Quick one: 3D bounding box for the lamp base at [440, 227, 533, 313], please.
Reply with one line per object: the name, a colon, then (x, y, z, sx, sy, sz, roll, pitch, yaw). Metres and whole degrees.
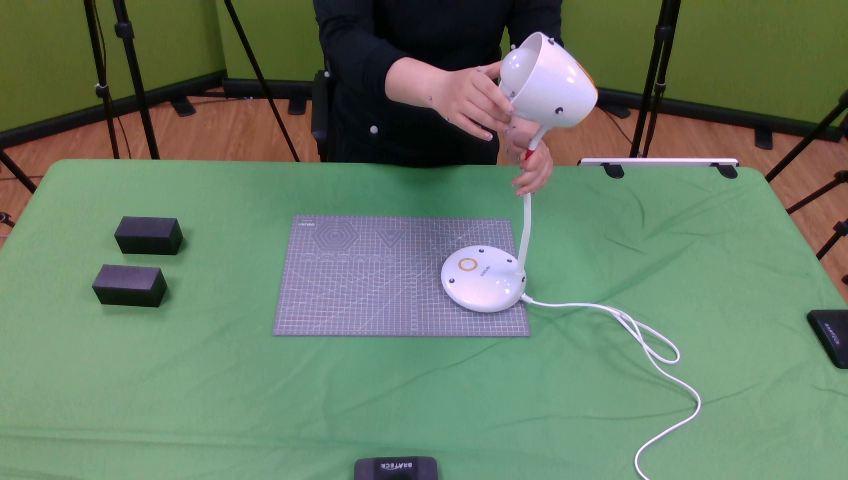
lamp base: (0.126, 0.021, 1.072, 0.179, 0.181, 0.160, 22, 49, 13)

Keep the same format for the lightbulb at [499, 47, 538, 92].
lightbulb: (0.153, -0.222, 0.836, 0.108, 0.059, 0.059, 27, 41, -22)

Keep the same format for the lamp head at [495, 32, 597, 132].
lamp head: (0.173, -0.205, 0.834, 0.123, 0.112, 0.112, 28, 42, -20)
